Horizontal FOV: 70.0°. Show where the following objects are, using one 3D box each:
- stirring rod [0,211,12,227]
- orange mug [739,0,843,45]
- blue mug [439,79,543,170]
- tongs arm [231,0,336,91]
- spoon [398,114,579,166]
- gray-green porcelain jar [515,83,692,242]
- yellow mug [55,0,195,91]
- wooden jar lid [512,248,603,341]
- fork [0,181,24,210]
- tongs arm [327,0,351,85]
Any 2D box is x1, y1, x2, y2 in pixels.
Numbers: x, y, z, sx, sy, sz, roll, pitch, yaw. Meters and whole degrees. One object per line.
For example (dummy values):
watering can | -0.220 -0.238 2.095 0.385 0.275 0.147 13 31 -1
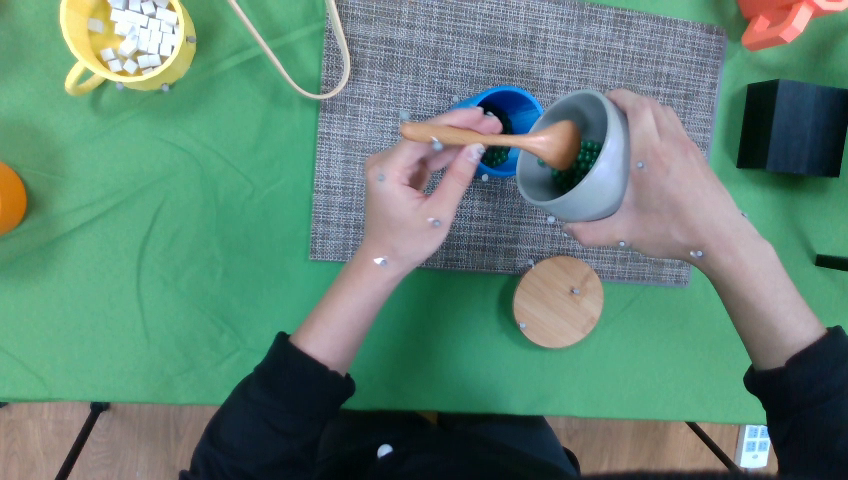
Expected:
stirring rod | -0.434 -0.034 0.495 0.006 0.177 0.014 3 82 31
orange mug | 0.399 -0.275 0.656 0.084 0.100 0.126 28 87 -14
blue mug | 0.078 -0.104 0.608 0.117 0.105 0.082 31 91 -14
tongs arm | -0.204 -0.296 0.538 0.051 0.026 0.387 -35 111 -8
spoon | 0.057 -0.079 0.454 0.195 0.021 0.042 -3 107 -36
gray-green porcelain jar | 0.161 -0.061 0.533 0.127 0.105 0.106 23 93 -31
yellow mug | -0.276 -0.183 0.546 0.100 0.063 0.131 44 89 -14
wooden jar lid | 0.151 0.062 0.693 0.108 0.020 0.108 -2 102 -10
fork | -0.439 -0.052 0.488 0.209 0.018 0.028 13 96 -57
tongs arm | -0.131 -0.337 0.550 0.028 0.027 0.390 -23 109 -16
